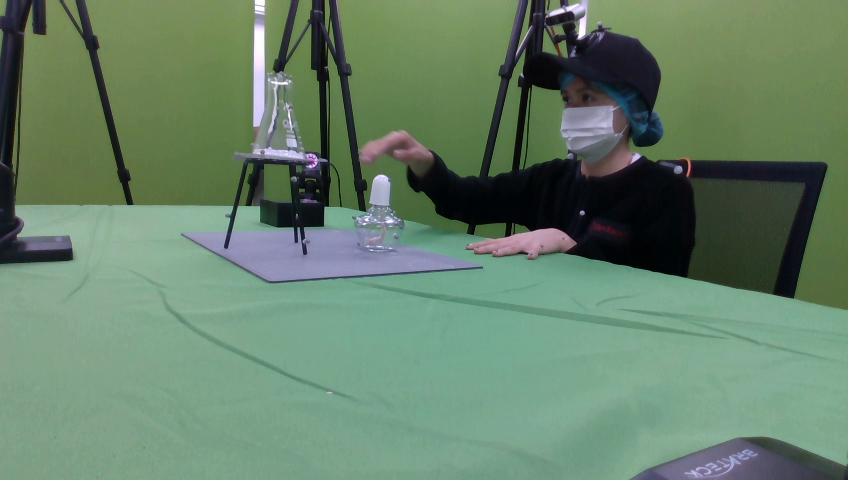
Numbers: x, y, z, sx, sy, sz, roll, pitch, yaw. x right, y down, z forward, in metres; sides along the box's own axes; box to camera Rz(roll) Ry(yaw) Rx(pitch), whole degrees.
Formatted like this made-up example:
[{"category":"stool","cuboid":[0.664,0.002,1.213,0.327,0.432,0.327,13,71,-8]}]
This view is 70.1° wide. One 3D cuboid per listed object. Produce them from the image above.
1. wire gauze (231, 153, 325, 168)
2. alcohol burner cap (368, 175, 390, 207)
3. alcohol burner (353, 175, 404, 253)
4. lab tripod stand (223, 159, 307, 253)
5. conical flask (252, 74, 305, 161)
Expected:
[{"category":"wire gauze","cuboid":[-0.215,-0.117,0.882,0.125,0.011,0.121,3,7,-19]},{"category":"alcohol burner cap","cuboid":[-0.067,-0.075,0.923,0.034,0.048,0.034,8,11,-1]},{"category":"alcohol burner","cuboid":[-0.069,-0.040,0.926,0.078,0.119,0.078,1,9,0]},{"category":"lab tripod stand","cuboid":[-0.220,-0.053,0.896,0.148,0.131,0.148,1,6,0]},{"category":"conical flask","cuboid":[-0.211,-0.177,0.879,0.075,0.122,0.075,3,6,0]}]
